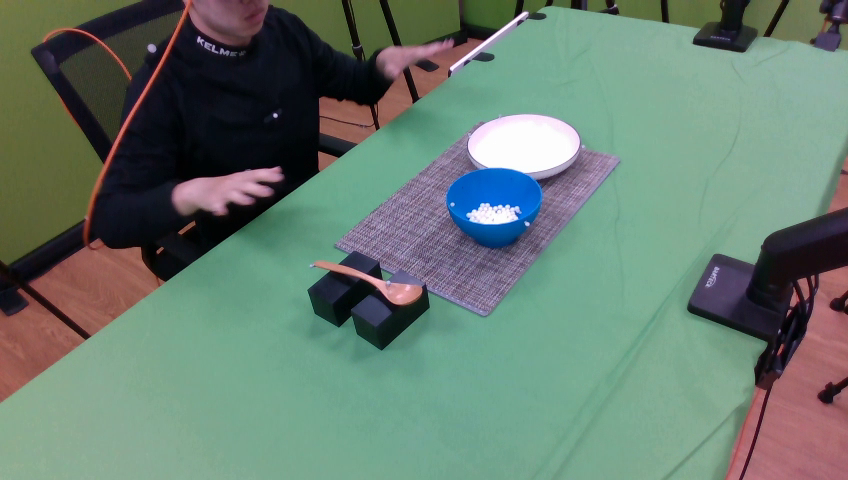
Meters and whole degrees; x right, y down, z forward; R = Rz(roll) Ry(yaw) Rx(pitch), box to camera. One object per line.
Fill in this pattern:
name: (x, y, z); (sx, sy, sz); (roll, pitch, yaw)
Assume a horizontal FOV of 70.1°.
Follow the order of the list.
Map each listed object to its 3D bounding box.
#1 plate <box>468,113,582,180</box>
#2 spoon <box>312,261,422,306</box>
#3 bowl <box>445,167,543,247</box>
plate: (0.186, -0.169, 1.122); (0.207, 0.039, 0.206); (-4, 40, 4)
spoon: (-0.084, 0.055, 0.842); (0.192, 0.022, 0.042); (19, 46, 29)
bowl: (0.111, -0.041, 0.952); (0.151, 0.077, 0.150); (-4, 41, 4)
